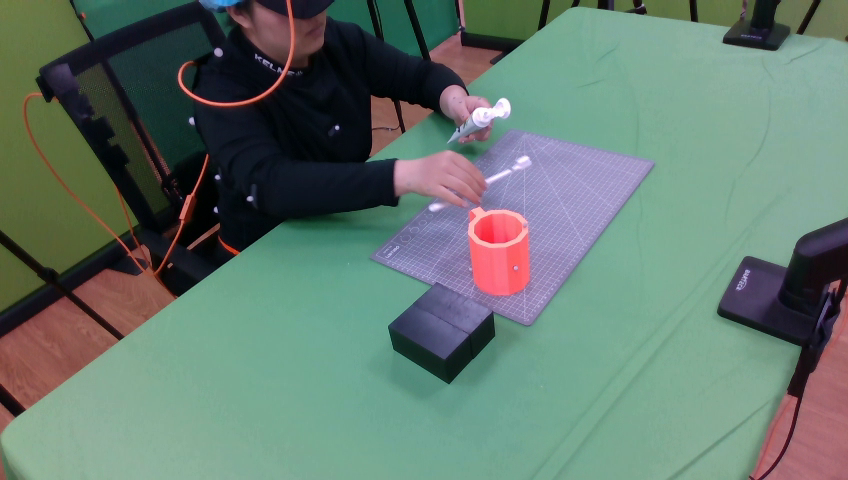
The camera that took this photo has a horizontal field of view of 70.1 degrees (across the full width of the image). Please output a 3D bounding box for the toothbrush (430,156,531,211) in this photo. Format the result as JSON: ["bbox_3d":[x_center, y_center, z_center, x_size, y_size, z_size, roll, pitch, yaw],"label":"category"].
[{"bbox_3d":[0.091,-0.091,0.972,0.182,0.017,0.014,-27,59,-2],"label":"toothbrush"}]

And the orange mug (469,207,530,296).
[{"bbox_3d":[0.104,0.008,0.894,0.084,0.101,0.125,-22,46,-14],"label":"orange mug"}]

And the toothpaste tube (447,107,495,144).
[{"bbox_3d":[0.088,-0.212,1.112,0.055,0.034,0.164,-37,7,-16],"label":"toothpaste tube"}]

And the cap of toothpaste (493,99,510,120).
[{"bbox_3d":[0.132,-0.223,1.034,0.011,0.037,0.037,-14,36,-35],"label":"cap of toothpaste"}]
